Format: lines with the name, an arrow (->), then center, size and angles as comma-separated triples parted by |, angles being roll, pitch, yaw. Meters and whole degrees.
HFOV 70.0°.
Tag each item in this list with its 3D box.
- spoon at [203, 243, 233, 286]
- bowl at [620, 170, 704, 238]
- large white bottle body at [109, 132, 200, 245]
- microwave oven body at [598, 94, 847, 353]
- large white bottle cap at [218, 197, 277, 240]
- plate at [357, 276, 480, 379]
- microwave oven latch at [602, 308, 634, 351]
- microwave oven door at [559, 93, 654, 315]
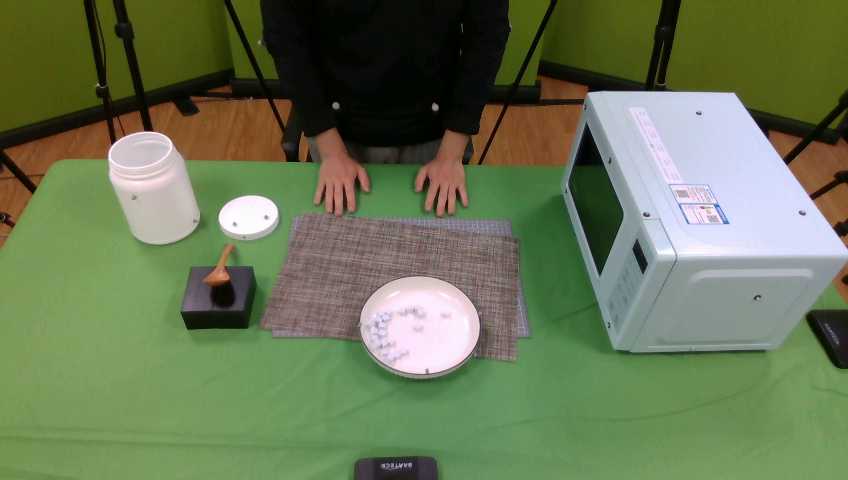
spoon -> -0.360, 0.039, 1.087 | 0.041, 0.022, 0.192 | -5, 24, -7
bowl -> 0.445, -0.057, 1.166 | 0.151, 0.077, 0.150 | 2, 46, -2
large white bottle body -> -0.506, -0.097, 1.141 | 0.131, 0.185, 0.130 | 2, 46, -2
microwave oven body -> 0.475, -0.041, 1.109 | 0.326, 0.261, 0.438 | -1, 45, -4
large white bottle cap -> -0.354, -0.045, 1.220 | 0.115, 0.018, 0.114 | 2, 45, -2
plate -> -0.010, 0.151, 1.038 | 0.209, 0.038, 0.208 | 2, 47, -2
microwave oven latch -> 0.332, 0.153, 1.044 | 0.030, 0.029, 0.078 | -1, 45, -4
microwave oven door -> 0.327, -0.074, 1.123 | 0.039, 0.245, 0.353 | -1, 46, -5
